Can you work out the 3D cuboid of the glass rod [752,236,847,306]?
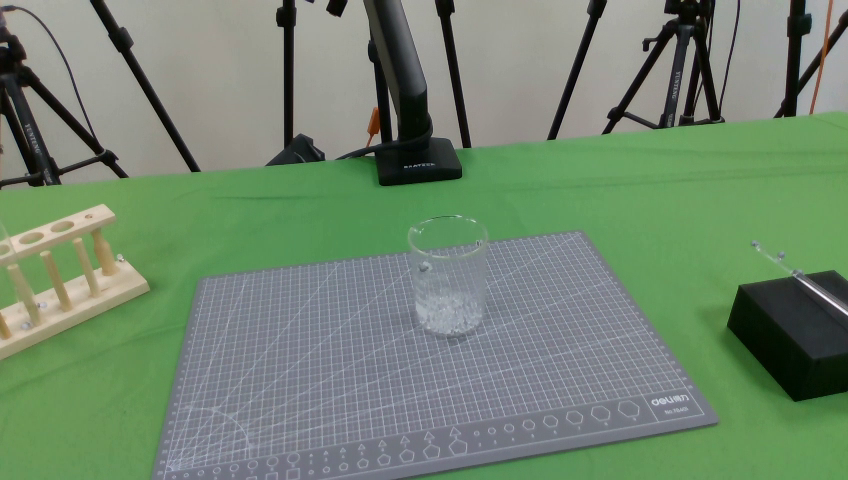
[{"bbox_3d":[0.364,0.048,0.531,0.008,0.008,0.197,-13,35,-15],"label":"glass rod"}]

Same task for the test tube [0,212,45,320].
[{"bbox_3d":[-0.387,0.013,0.563,0.017,0.151,0.017,0,33,0],"label":"test tube"}]

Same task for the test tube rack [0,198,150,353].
[{"bbox_3d":[-0.410,0.050,0.592,0.242,0.086,0.066,-30,43,-34],"label":"test tube rack"}]

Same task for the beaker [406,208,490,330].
[{"bbox_3d":[0.021,0.029,0.582,0.083,0.101,0.074,25,43,35],"label":"beaker"}]
